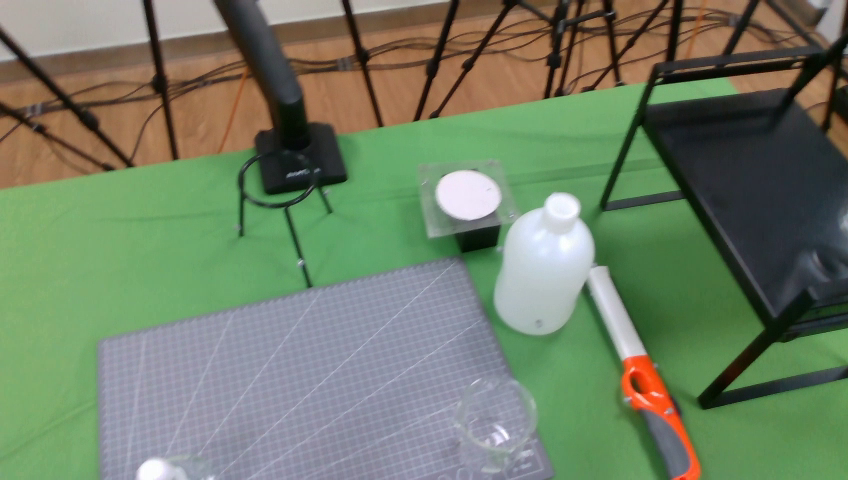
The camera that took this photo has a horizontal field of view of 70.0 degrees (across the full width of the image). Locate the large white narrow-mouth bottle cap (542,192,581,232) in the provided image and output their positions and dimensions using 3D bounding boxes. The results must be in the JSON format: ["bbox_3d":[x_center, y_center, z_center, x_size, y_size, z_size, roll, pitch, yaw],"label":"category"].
[{"bbox_3d":[0.139,-0.029,0.616,0.038,0.024,0.037,1,53,-1],"label":"large white narrow-mouth bottle cap"}]

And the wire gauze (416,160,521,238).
[{"bbox_3d":[0.056,-0.060,0.797,0.121,0.011,0.123,-6,54,-7],"label":"wire gauze"}]

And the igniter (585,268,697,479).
[{"bbox_3d":[0.245,0.148,0.703,0.057,0.025,0.273,-2,53,-17],"label":"igniter"}]

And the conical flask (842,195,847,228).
[{"bbox_3d":[0.434,-0.047,0.530,0.075,0.123,0.074,-1,57,2],"label":"conical flask"}]

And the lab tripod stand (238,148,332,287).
[{"bbox_3d":[-0.168,-0.033,0.750,0.148,0.132,0.147,3,54,-3],"label":"lab tripod stand"}]

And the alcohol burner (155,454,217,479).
[{"bbox_3d":[-0.234,0.232,0.561,0.078,0.120,0.077,2,52,-3],"label":"alcohol burner"}]

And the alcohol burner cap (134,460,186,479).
[{"bbox_3d":[-0.234,0.211,0.531,0.034,0.048,0.033,-2,54,3],"label":"alcohol burner cap"}]

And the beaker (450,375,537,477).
[{"bbox_3d":[0.065,0.193,0.613,0.084,0.101,0.073,-8,54,-7],"label":"beaker"}]

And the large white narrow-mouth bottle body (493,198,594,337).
[{"bbox_3d":[0.137,0.024,0.685,0.102,0.196,0.101,1,53,-1],"label":"large white narrow-mouth bottle body"}]
